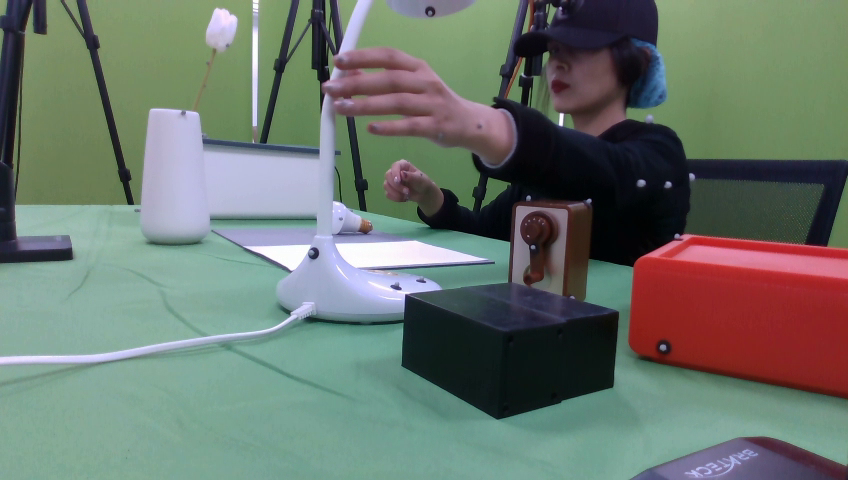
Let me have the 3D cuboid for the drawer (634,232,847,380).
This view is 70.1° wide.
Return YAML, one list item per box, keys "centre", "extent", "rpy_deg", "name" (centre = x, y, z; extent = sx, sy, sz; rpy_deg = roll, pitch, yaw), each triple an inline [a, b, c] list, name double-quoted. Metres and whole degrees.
- centre: [0.291, 0.045, 0.488]
  extent: [0.193, 0.073, 0.213]
  rpy_deg: [7, 10, 30]
  name: "drawer"

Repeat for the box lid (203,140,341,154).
- centre: [-0.396, -0.212, 1.373]
  extent: [0.373, 0.015, 0.262]
  rpy_deg: [-1, 9, -29]
  name: "box lid"

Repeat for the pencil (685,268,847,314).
- centre: [0.307, 0.045, 0.516]
  extent: [0.194, 0.012, 0.012]
  rpy_deg: [13, 5, -12]
  name: "pencil"

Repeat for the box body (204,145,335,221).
- centre: [-0.411, -0.135, 1.386]
  extent: [0.366, 0.160, 0.253]
  rpy_deg: [-2, 9, -29]
  name: "box body"

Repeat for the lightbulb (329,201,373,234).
- centre: [-0.143, -0.036, 1.108]
  extent: [0.108, 0.059, 0.059]
  rpy_deg: [16, 0, -28]
  name: "lightbulb"

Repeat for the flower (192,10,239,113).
- centre: [-0.353, -0.174, 0.915]
  extent: [0.038, 0.361, 0.044]
  rpy_deg: [17, -3, 13]
  name: "flower"

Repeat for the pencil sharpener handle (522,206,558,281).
- centre: [0.102, 0.003, 0.555]
  extent: [0.036, 0.067, 0.031]
  rpy_deg: [0, 6, 31]
  name: "pencil sharpener handle"

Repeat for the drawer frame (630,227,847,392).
- centre: [0.292, 0.043, 0.484]
  extent: [0.201, 0.082, 0.214]
  rpy_deg: [7, 9, 29]
  name: "drawer frame"

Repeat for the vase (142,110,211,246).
- centre: [-0.378, -0.093, 0.920]
  extent: [0.098, 0.200, 0.098]
  rpy_deg: [2, 9, 0]
  name: "vase"

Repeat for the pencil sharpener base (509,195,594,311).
- centre: [0.126, 0.011, 0.601]
  extent: [0.061, 0.107, 0.077]
  rpy_deg: [6, 9, 30]
  name: "pencil sharpener base"

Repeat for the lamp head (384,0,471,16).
- centre: [-0.001, -0.301, 0.599]
  extent: [0.112, 0.112, 0.123]
  rpy_deg: [4, -30, 14]
  name: "lamp head"

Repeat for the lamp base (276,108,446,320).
- centre: [-0.061, -0.027, 0.556]
  extent: [0.160, 0.180, 0.180]
  rpy_deg: [4, 10, 20]
  name: "lamp base"
